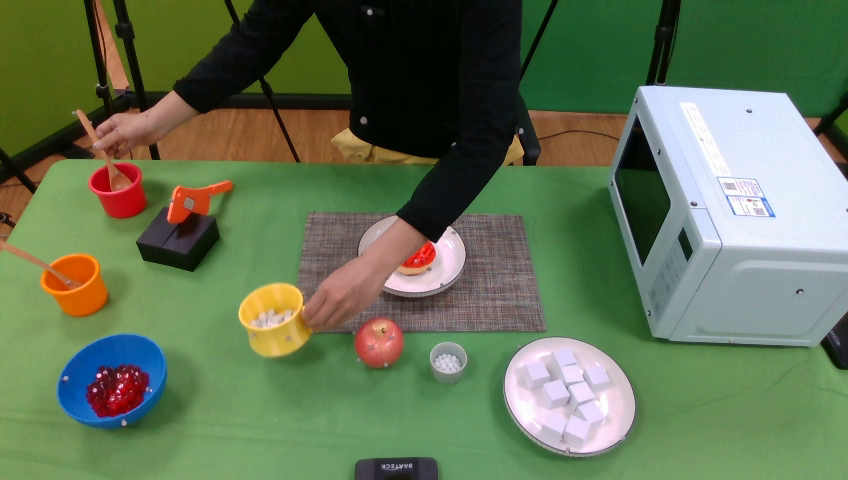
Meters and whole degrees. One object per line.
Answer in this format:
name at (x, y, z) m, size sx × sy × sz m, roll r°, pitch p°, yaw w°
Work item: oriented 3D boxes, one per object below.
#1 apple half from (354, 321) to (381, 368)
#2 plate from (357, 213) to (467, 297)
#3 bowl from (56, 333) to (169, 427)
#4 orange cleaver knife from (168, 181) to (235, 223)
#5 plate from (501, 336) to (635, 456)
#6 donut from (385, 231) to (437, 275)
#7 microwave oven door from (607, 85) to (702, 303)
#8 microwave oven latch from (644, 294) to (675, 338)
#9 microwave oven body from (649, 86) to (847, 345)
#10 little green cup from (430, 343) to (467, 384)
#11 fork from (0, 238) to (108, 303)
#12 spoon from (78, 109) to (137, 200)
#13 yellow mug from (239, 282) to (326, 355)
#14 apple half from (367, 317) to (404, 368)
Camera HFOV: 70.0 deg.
apple half at (-0.097, 0.176, 0.985) m, size 0.033 × 0.081 × 0.080 m, roll -12°, pitch 48°, yaw -20°
plate at (-0.023, 0.032, 1.150) m, size 0.209 × 0.038 × 0.208 m, roll 2°, pitch 46°, yaw -2°
bowl at (-0.456, 0.223, 0.911) m, size 0.151 × 0.077 × 0.150 m, roll 3°, pitch 46°, yaw -2°
orange cleaver knife at (-0.436, -0.077, 1.196) m, size 0.012 × 0.077 × 0.211 m, roll 16°, pitch 15°, yaw 10°
plate at (0.225, 0.248, 0.963) m, size 0.208 × 0.039 × 0.206 m, roll 2°, pitch 46°, yaw -2°
donut at (-0.025, 0.024, 1.142) m, size 0.099 × 0.048 × 0.098 m, roll 3°, pitch 44°, yaw -3°
microwave oven door at (0.423, -0.094, 1.140) m, size 0.039 × 0.245 × 0.353 m, roll 2°, pitch 46°, yaw -1°
microwave oven latch at (0.411, 0.133, 1.062) m, size 0.030 × 0.029 × 0.078 m, roll 2°, pitch 45°, yaw -1°
microwave oven body at (0.568, -0.053, 1.118) m, size 0.326 × 0.261 × 0.439 m, roll 2°, pitch 45°, yaw -1°
little green cup at (0.039, 0.203, 0.993) m, size 0.061 × 0.039 × 0.061 m, roll 2°, pitch 46°, yaw -2°
fork at (-0.633, 0.048, 1.017) m, size 0.208 × 0.018 × 0.028 m, roll 40°, pitch 41°, yaw -27°
spoon at (-0.625, -0.168, 1.192) m, size 0.041 × 0.194 × 0.021 m, roll -28°, pitch 14°, yaw -19°
yellow mug at (-0.219, 0.123, 0.958) m, size 0.131 × 0.064 × 0.099 m, roll 0°, pitch 40°, yaw 6°
apple half at (-0.061, 0.167, 0.998) m, size 0.053 × 0.075 × 0.080 m, roll -11°, pitch 44°, yaw -20°
